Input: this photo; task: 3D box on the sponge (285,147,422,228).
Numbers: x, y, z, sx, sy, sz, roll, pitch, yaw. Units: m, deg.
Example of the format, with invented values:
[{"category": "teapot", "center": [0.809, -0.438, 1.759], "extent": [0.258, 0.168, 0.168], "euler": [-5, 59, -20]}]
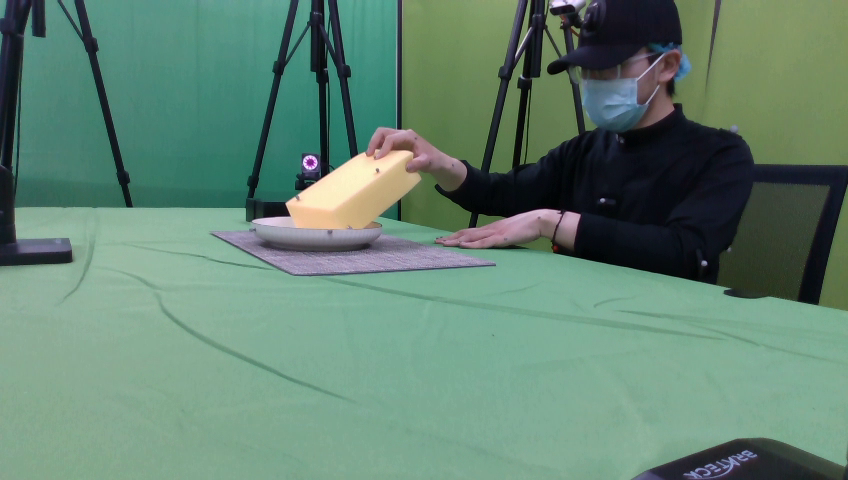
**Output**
[{"category": "sponge", "center": [-0.115, -0.084, 1.021], "extent": [0.117, 0.061, 0.207], "euler": [8, 37, 39]}]

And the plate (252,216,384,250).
[{"category": "plate", "center": [-0.169, -0.012, 0.976], "extent": [0.208, 0.039, 0.207], "euler": [2, 7, 0]}]
